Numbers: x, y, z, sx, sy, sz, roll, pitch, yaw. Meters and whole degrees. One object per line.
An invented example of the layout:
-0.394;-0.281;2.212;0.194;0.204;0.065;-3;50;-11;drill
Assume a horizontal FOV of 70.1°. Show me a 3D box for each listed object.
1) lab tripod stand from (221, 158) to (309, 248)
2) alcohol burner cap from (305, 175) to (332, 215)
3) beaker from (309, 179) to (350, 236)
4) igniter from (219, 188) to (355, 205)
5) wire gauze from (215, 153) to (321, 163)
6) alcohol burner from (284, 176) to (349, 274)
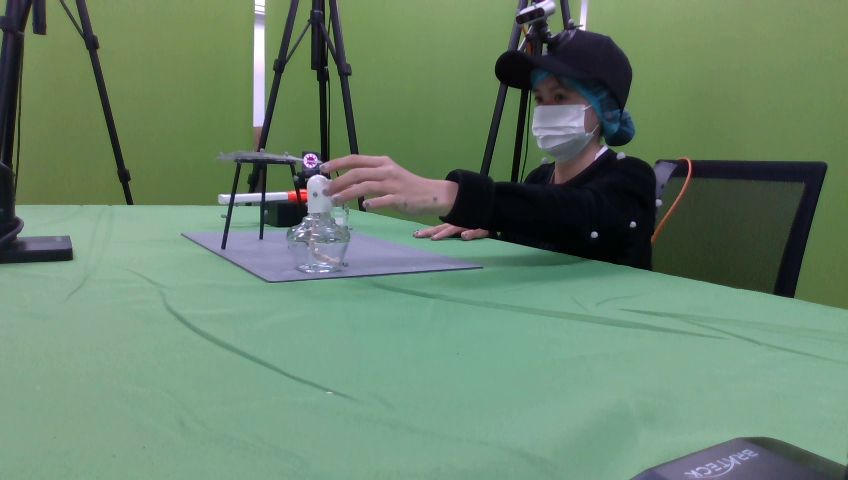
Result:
-0.244;-0.057;0.917;0.148;0.131;0.148;1;7;0;lab tripod stand
-0.130;-0.054;0.733;0.034;0.048;0.034;-4;8;1;alcohol burner cap
-0.176;-0.060;1.104;0.073;0.100;0.084;8;10;39;beaker
-0.274;-0.089;1.237;0.278;0.025;0.057;-6;11;-30;igniter
-0.235;-0.123;0.906;0.126;0.011;0.121;-2;7;-33;wire gauze
-0.130;-0.019;0.738;0.078;0.119;0.078;4;5;0;alcohol burner
